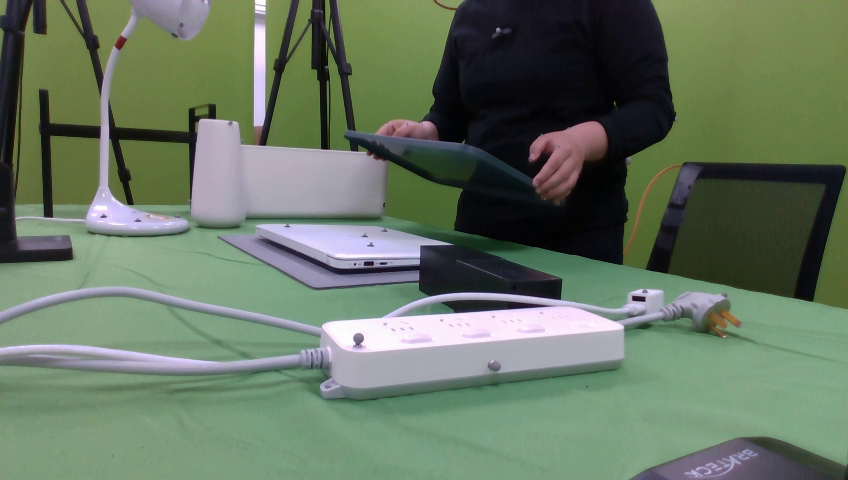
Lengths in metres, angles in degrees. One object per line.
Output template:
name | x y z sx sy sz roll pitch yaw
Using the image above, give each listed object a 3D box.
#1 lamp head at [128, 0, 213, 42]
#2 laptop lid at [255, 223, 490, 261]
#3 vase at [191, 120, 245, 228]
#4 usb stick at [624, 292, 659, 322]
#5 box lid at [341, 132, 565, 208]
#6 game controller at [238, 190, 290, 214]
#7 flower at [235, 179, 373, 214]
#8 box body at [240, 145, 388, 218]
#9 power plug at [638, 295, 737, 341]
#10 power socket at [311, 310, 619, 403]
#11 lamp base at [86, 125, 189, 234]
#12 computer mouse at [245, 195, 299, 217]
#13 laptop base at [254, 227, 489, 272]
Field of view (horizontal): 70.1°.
lamp head | -0.423 -0.394 0.980 0.123 0.112 0.112 20 7 -3
laptop lid | -0.093 0.000 0.911 0.243 0.013 0.355 1 7 -30
vase | -0.389 -0.124 1.142 0.098 0.200 0.098 3 9 0
usb stick | 0.211 0.064 0.580 0.021 0.027 0.059 -2 -4 36
box lid | 0.044 -0.124 1.068 0.265 0.015 0.369 21 -3 -42
game controller | -0.391 -0.094 1.465 0.097 0.051 0.154 -3 8 -29
flower | -0.267 -0.090 1.419 0.364 0.038 0.044 10 -43 -40
box body | -0.297 -0.143 1.474 0.366 0.160 0.253 -1 9 -30
power plug | 0.235 0.077 0.535 0.072 0.035 0.052 -34 40 -6
power socket | 0.034 0.074 0.415 0.228 0.032 0.072 -1 7 -24
lamp base | -0.497 -0.105 1.027 0.179 0.180 0.160 1 7 3
computer mouse | -0.345 -0.077 1.371 0.118 0.041 0.062 -12 17 -32
laptop base | -0.096 0.012 0.910 0.237 0.023 0.352 2 7 -32
